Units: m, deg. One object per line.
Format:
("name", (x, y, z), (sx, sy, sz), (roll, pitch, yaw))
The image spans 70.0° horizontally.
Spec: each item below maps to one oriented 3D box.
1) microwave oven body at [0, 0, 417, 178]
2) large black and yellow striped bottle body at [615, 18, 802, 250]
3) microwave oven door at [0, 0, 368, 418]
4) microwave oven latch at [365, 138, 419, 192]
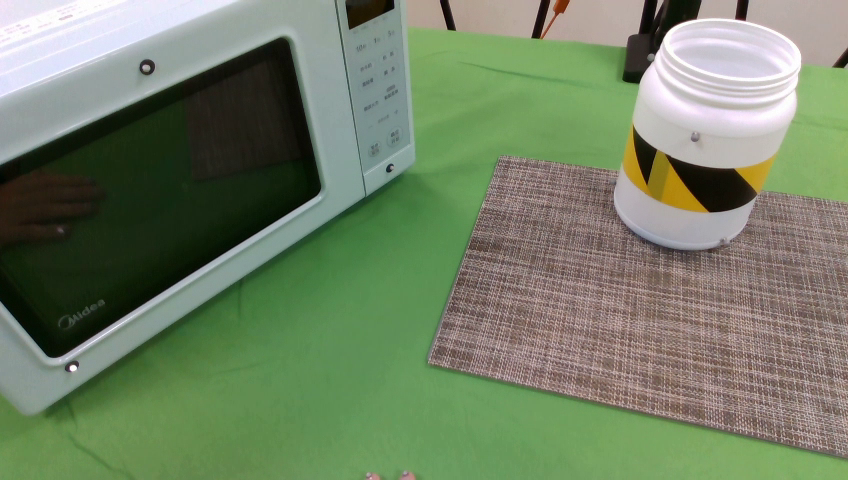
("microwave oven body", (-0.275, -0.128, 0.580), (0.323, 0.262, 0.441), (33, 56, 31))
("large black and yellow striped bottle body", (0.259, -0.095, 0.565), (0.131, 0.186, 0.129), (-2, 45, 2))
("microwave oven door", (-0.200, -0.042, 0.481), (0.039, 0.246, 0.355), (33, 55, 31))
("microwave oven latch", (-0.040, -0.086, 0.659), (0.079, 0.030, 0.030), (-36, 54, -28))
